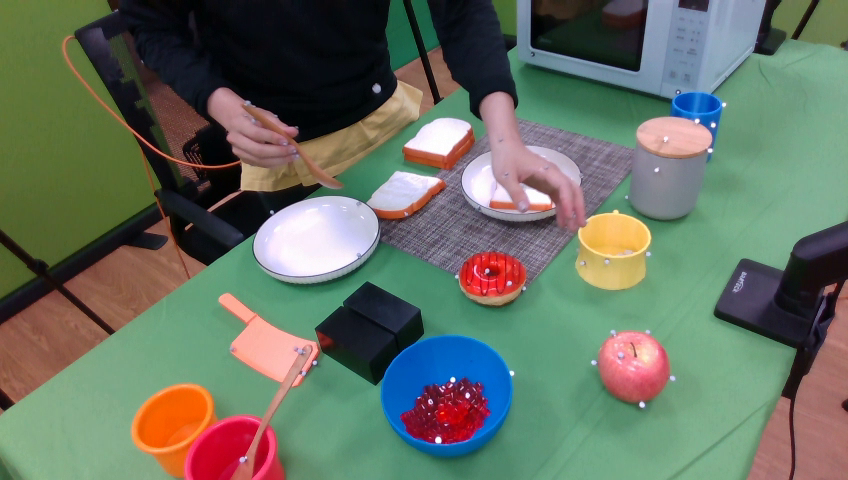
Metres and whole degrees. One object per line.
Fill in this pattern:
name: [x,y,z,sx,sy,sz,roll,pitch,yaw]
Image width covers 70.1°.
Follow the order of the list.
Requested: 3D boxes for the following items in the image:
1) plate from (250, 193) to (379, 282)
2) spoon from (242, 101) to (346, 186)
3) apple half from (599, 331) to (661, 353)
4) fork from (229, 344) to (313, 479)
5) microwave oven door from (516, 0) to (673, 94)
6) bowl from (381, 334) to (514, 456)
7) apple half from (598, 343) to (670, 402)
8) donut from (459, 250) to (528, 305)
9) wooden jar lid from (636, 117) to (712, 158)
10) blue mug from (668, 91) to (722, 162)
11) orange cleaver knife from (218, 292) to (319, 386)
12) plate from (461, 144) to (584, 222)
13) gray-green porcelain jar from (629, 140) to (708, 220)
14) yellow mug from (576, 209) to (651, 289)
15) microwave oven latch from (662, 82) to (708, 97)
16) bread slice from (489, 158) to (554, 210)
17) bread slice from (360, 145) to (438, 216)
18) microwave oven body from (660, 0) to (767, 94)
plate: [-0.174,-0.001,0.985,0.209,0.038,0.208,-3,40,3]
spoon: [-0.180,-0.131,0.850,0.041,0.195,0.021,6,61,44]
apple half: [0.249,0.134,0.738,0.081,0.081,0.032,-1,46,7]
fork: [-0.173,0.205,0.662,0.028,0.019,0.207,29,94,36]
microwave oven door: [0.344,-0.458,1.257,0.353,0.245,0.039,26,52,33]
bowl: [0.029,0.192,0.701,0.151,0.077,0.150,-4,40,4]
apple half: [0.247,0.161,0.710,0.081,0.075,0.053,2,47,5]
donut: [0.100,0.053,0.872,0.099,0.048,0.098,-5,40,4]
wooden jar lid: [0.377,-0.151,0.917,0.108,0.021,0.108,-2,42,2]
blue mug: [0.474,-0.206,1.079,0.082,0.106,0.116,4,42,13]
orange cleaver knife: [-0.235,0.136,0.850,0.209,0.012,0.077,25,56,30]
plate: [0.168,-0.095,1.040,0.207,0.039,0.206,-4,40,4]
gray-green porcelain jar: [0.383,-0.104,0.958,0.106,0.127,0.105,-4,41,4]
yellow mug: [0.279,0.004,0.893,0.099,0.064,0.130,6,42,14]
microwave oven latch: [0.517,-0.298,1.203,0.078,0.029,0.030,28,53,35]
bread slice: [0.172,-0.100,1.047,0.104,0.019,0.131,4,43,12]
bread slice: [-0.052,-0.103,1.046,0.106,0.018,0.134,19,66,23]
microwave oven body: [0.473,-0.517,1.314,0.438,0.261,0.327,26,51,34]
